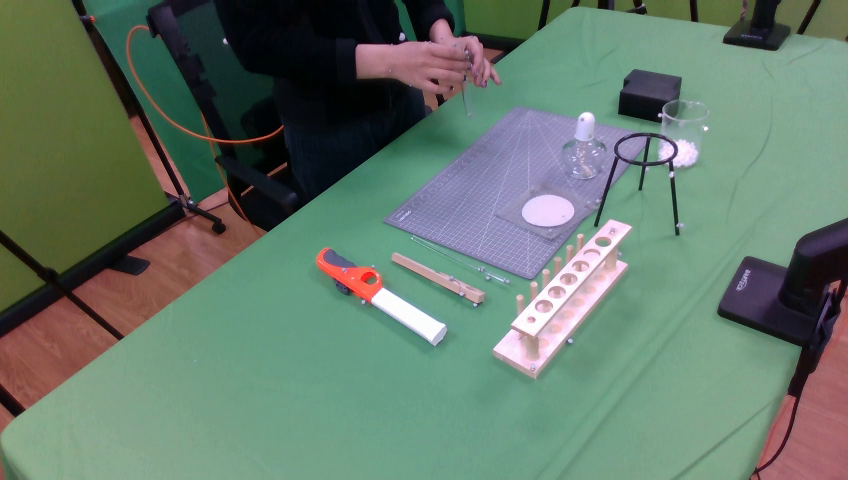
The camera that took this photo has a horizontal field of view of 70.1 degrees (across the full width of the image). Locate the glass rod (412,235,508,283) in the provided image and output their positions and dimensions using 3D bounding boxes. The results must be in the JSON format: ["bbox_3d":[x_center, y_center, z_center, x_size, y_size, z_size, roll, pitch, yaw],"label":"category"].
[{"bbox_3d":[0.051,0.028,0.951,0.198,0.008,0.008,25,51,37],"label":"glass rod"}]

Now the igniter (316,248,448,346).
[{"bbox_3d":[-0.074,0.078,0.902,0.274,0.025,0.057,28,63,36],"label":"igniter"}]

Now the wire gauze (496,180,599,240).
[{"bbox_3d":[0.206,-0.050,1.012,0.125,0.011,0.120,-34,45,-26],"label":"wire gauze"}]

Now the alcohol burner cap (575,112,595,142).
[{"bbox_3d":[0.276,-0.194,1.028,0.034,0.048,0.033,-2,45,3],"label":"alcohol burner cap"}]

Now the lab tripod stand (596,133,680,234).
[{"bbox_3d":[0.338,-0.091,0.940,0.148,0.132,0.147,-7,39,6],"label":"lab tripod stand"}]

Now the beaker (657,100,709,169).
[{"bbox_3d":[0.449,-0.183,1.054,0.073,0.101,0.084,15,45,27],"label":"beaker"}]

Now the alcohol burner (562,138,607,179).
[{"bbox_3d":[0.280,-0.167,1.052,0.078,0.119,0.077,-5,39,4],"label":"alcohol burner"}]

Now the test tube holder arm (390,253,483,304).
[{"bbox_3d":[0.015,0.056,0.916,0.177,0.015,0.013,24,16,33],"label":"test tube holder arm"}]

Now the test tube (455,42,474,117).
[{"bbox_3d":[0.075,-0.289,1.103,0.017,0.151,0.017,-8,44,8],"label":"test tube"}]

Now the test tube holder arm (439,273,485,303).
[{"bbox_3d":[0.053,0.070,0.896,0.087,0.015,0.010,24,16,34],"label":"test tube holder arm"}]

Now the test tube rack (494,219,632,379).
[{"bbox_3d":[0.191,0.068,0.818,0.066,0.085,0.243,25,51,35],"label":"test tube rack"}]
